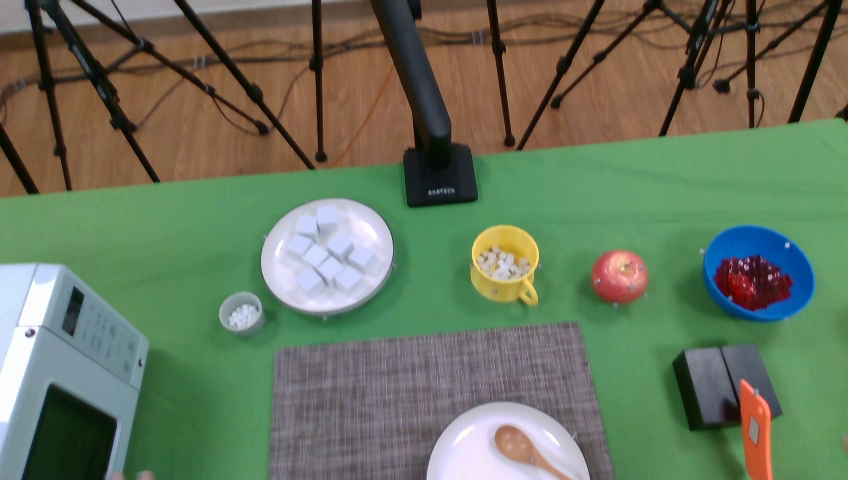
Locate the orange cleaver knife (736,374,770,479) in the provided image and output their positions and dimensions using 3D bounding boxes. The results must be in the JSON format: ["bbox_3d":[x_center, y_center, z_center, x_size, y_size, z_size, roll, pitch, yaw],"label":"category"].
[{"bbox_3d":[0.413,0.275,0.751,0.012,0.077,0.211,-8,93,2],"label":"orange cleaver knife"}]

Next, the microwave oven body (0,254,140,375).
[{"bbox_3d":[-0.560,0.268,0.685,0.326,0.262,0.437,-2,61,0],"label":"microwave oven body"}]

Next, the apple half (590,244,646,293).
[{"bbox_3d":[0.293,0.039,0.901,0.080,0.075,0.053,31,63,22],"label":"apple half"}]

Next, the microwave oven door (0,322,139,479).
[{"bbox_3d":[-0.414,0.296,0.658,0.039,0.246,0.352,-2,60,1],"label":"microwave oven door"}]

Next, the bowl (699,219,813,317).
[{"bbox_3d":[0.468,0.052,0.884,0.151,0.077,0.150,-1,61,2],"label":"bowl"}]

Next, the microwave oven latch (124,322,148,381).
[{"bbox_3d":[-0.412,0.158,0.855,0.030,0.030,0.078,-1,61,1],"label":"microwave oven latch"}]

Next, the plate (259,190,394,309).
[{"bbox_3d":[-0.149,0.016,0.949,0.207,0.039,0.206,-1,60,2],"label":"plate"}]

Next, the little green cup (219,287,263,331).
[{"bbox_3d":[-0.269,0.105,0.900,0.061,0.039,0.061,0,61,1],"label":"little green cup"}]

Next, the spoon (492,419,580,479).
[{"bbox_3d":[0.168,0.290,0.762,0.192,0.022,0.041,29,59,30],"label":"spoon"}]

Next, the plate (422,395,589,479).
[{"bbox_3d":[0.102,0.304,0.771,0.209,0.038,0.207,-1,61,2],"label":"plate"}]

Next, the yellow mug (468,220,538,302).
[{"bbox_3d":[0.127,0.039,0.910,0.100,0.064,0.129,-31,65,-15],"label":"yellow mug"}]

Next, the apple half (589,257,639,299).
[{"bbox_3d":[0.269,0.066,0.885,0.081,0.082,0.032,33,64,19],"label":"apple half"}]
